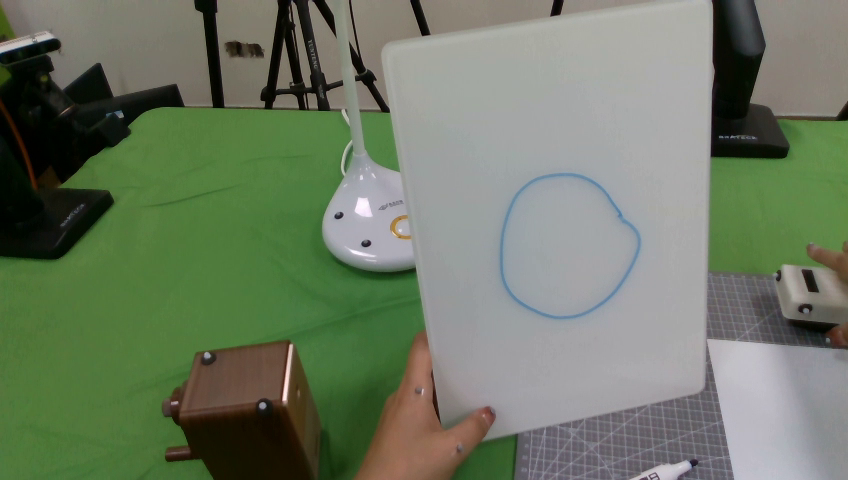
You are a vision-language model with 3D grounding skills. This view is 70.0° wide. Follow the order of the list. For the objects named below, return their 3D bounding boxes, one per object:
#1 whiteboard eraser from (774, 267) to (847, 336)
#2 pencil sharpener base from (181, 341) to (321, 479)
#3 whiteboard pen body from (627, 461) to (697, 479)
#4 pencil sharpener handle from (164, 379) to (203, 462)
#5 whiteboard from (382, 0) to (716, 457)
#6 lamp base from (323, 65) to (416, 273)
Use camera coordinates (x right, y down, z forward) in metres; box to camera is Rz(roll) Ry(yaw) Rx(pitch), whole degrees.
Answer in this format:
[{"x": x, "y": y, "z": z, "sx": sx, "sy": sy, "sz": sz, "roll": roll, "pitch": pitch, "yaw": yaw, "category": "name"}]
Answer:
[{"x": 0.372, "y": 0.056, "z": 0.527, "sx": 0.112, "sy": 0.042, "sz": 0.055, "roll": 6, "pitch": 41, "yaw": 14, "category": "whiteboard eraser"}, {"x": -0.123, "y": 0.133, "z": 0.443, "sx": 0.077, "sy": 0.108, "sz": 0.060, "roll": -7, "pitch": 40, "yaw": -1, "category": "pencil sharpener base"}, {"x": 0.132, "y": 0.180, "z": 0.424, "sx": 0.141, "sy": 0.017, "sz": 0.017, "roll": -15, "pitch": 40, "yaw": -13, "category": "whiteboard pen body"}, {"x": -0.175, "y": 0.131, "z": 0.431, "sx": 0.030, "sy": 0.068, "sz": 0.035, "roll": -7, "pitch": 27, "yaw": -1, "category": "pencil sharpener handle"}, {"x": 0.093, "y": -0.016, "z": 0.489, "sx": 0.217, "sy": 0.307, "sz": 0.143, "roll": -10, "pitch": 20, "yaw": -5, "category": "whiteboard"}, {"x": -0.048, "y": -0.084, "z": 0.642, "sx": 0.161, "sy": 0.182, "sz": 0.177, "roll": -29, "pitch": 42, "yaw": -26, "category": "lamp base"}]
